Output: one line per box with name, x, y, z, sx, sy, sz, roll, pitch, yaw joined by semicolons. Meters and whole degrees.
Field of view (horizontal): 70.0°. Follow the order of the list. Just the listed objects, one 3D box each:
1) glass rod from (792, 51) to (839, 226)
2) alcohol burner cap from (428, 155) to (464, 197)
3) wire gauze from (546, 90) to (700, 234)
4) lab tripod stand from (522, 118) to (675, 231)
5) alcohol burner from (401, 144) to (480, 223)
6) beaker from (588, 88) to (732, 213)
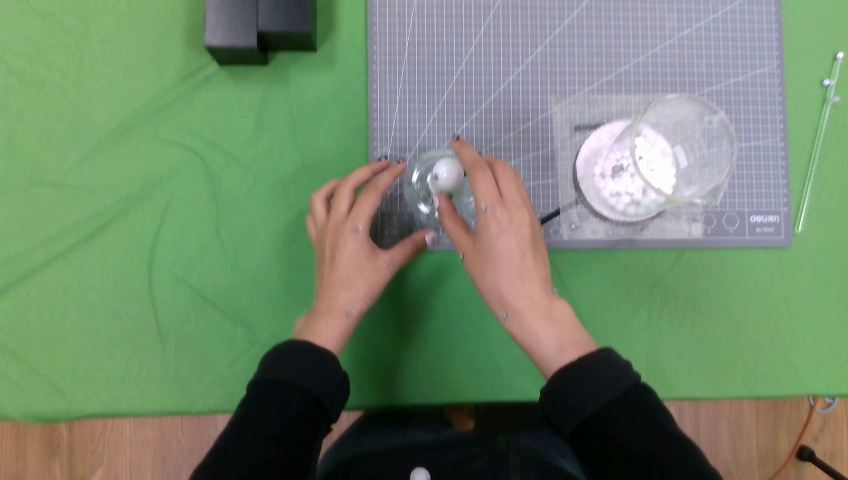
glass rod;0.424;-0.111;0.656;0.008;0.008;0.199;16;86;-2
alcohol burner cap;0.020;-0.058;0.539;0.034;0.048;0.034;0;82;0
wire gauze;0.168;-0.066;0.508;0.125;0.011;0.121;-2;85;-1
lab tripod stand;0.164;-0.058;0.573;0.148;0.131;0.148;0;85;-1
alcohol burner;0.017;-0.057;0.575;0.078;0.119;0.077;0;84;-3
beaker;0.173;-0.059;0.460;0.074;0.100;0.084;-33;87;-5
